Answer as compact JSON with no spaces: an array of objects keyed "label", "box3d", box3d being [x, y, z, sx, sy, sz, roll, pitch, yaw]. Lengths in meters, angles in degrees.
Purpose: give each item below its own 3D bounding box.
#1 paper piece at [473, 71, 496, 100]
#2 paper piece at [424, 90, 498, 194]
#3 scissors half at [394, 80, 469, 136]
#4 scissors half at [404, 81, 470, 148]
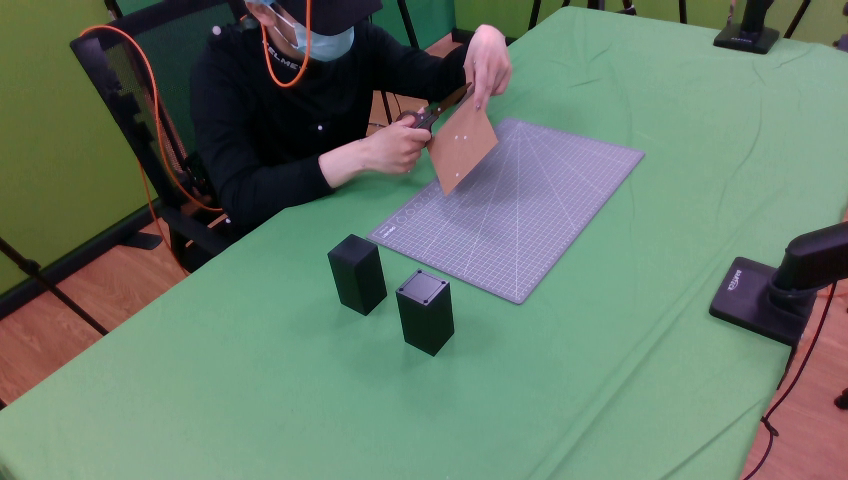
[{"label":"paper piece","box3d":[0.082,-0.244,1.122,0.008,0.136,0.138,38,35,2]},{"label":"paper piece","box3d":[0.059,-0.166,1.019,0.004,0.135,0.135,20,40,-39]},{"label":"scissors half","box3d":[0.011,-0.234,1.062,0.174,0.040,0.013,-25,23,32]},{"label":"scissors half","box3d":[0.025,-0.220,1.066,0.040,0.174,0.013,42,37,-6]}]
